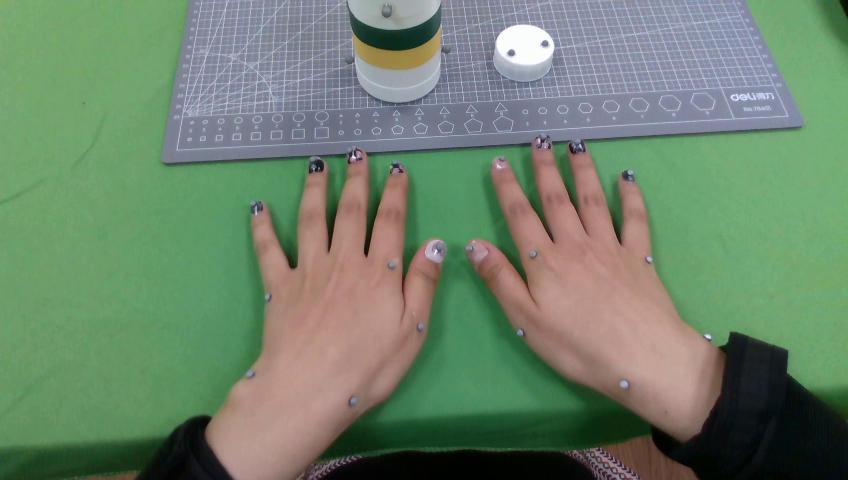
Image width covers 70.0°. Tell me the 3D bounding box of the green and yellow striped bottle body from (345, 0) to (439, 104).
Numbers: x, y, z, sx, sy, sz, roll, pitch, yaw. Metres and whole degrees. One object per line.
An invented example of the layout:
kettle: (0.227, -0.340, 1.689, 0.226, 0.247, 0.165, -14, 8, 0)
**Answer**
green and yellow striped bottle body: (-0.021, -0.153, 0.400, 0.063, 0.120, 0.062, 0, 60, 0)

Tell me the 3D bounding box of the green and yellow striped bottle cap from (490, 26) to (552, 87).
green and yellow striped bottle cap: (0.072, -0.138, 0.454, 0.045, 0.020, 0.045, 0, 62, -1)
